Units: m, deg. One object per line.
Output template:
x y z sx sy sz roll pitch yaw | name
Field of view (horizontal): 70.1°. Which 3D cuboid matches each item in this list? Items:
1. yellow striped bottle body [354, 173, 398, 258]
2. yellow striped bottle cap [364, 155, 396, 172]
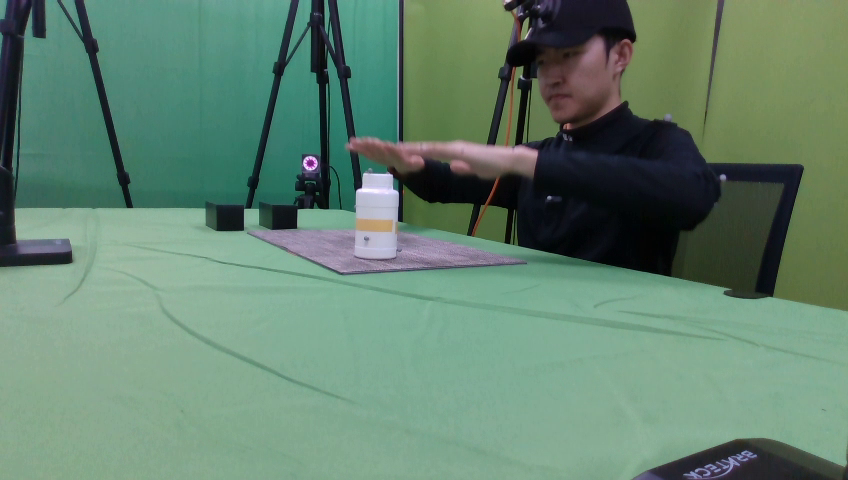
-0.069 -0.037 0.872 0.063 0.120 0.063 2 7 0 | yellow striped bottle body
-0.063 -0.109 0.859 0.044 0.018 0.044 9 6 -1 | yellow striped bottle cap
